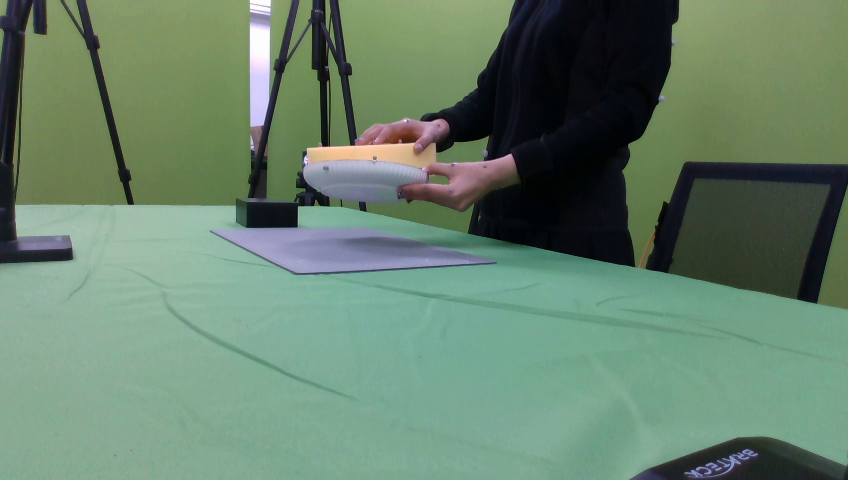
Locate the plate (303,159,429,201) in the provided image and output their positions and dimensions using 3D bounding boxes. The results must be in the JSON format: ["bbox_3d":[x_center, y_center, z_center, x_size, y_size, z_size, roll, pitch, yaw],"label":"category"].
[{"bbox_3d":[-0.095,-0.094,1.001,0.209,0.038,0.209,1,-6,0],"label":"plate"}]

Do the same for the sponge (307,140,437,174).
[{"bbox_3d":[-0.086,-0.137,1.052,0.117,0.061,0.208,4,12,38],"label":"sponge"}]
